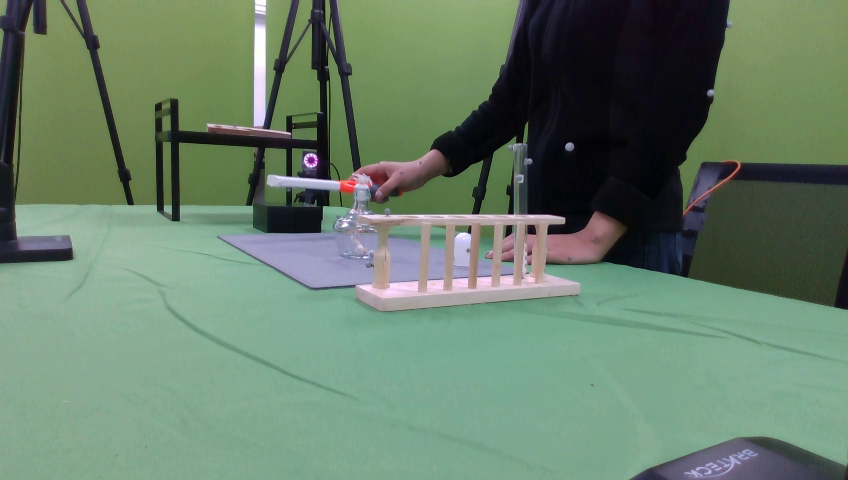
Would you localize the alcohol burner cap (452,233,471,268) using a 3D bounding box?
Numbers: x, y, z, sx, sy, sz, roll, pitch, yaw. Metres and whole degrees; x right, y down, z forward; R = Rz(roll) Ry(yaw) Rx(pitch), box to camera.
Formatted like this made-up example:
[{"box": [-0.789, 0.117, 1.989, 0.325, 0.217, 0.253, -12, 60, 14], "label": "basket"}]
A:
[{"box": [0.053, 0.014, 0.823, 0.034, 0.048, 0.034, 2, 6, 0], "label": "alcohol burner cap"}]

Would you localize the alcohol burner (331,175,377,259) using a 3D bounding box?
[{"box": [-0.091, -0.033, 0.855, 0.078, 0.119, 0.078, 4, 7, 0], "label": "alcohol burner"}]

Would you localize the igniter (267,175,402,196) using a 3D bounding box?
[{"box": [-0.154, -0.098, 1.102, 0.278, 0.025, 0.057, 0, 12, -43], "label": "igniter"}]

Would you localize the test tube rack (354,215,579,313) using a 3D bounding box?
[{"box": [0.053, 0.019, 0.635, 0.243, 0.085, 0.066, -1, 8, -29], "label": "test tube rack"}]

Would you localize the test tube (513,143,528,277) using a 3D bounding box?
[{"box": [0.108, -0.033, 0.677, 0.017, 0.150, 0.017, -1, 8, 1], "label": "test tube"}]

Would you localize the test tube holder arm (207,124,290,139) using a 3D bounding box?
[{"box": [-0.381, -0.237, 1.327, 0.179, 0.015, 0.013, 0, 41, -32], "label": "test tube holder arm"}]

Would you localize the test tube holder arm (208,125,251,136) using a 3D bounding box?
[{"box": [-0.418, -0.234, 1.299, 0.088, 0.015, 0.010, 1, 41, -31], "label": "test tube holder arm"}]
